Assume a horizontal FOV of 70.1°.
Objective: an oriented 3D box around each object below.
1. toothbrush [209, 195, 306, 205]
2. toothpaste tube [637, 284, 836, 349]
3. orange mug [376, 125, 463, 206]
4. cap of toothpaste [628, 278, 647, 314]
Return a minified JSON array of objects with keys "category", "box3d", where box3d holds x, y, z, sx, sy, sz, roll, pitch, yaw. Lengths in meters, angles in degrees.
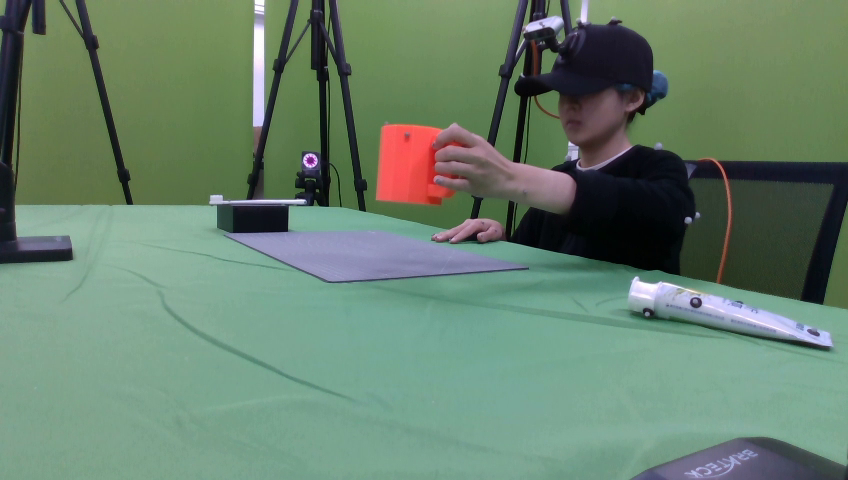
[{"category":"toothbrush","box3d":[-0.303,-0.073,1.117,0.183,0.016,0.014,-2,5,-36]},{"category":"toothpaste tube","box3d":[0.275,0.070,0.550,0.164,0.034,0.055,11,15,28]},{"category":"orange mug","box3d":[-0.003,-0.095,0.774,0.125,0.100,0.084,2,0,44]},{"category":"cap of toothpaste","box3d":[0.209,0.055,0.589,0.011,0.037,0.037,11,11,28]}]
